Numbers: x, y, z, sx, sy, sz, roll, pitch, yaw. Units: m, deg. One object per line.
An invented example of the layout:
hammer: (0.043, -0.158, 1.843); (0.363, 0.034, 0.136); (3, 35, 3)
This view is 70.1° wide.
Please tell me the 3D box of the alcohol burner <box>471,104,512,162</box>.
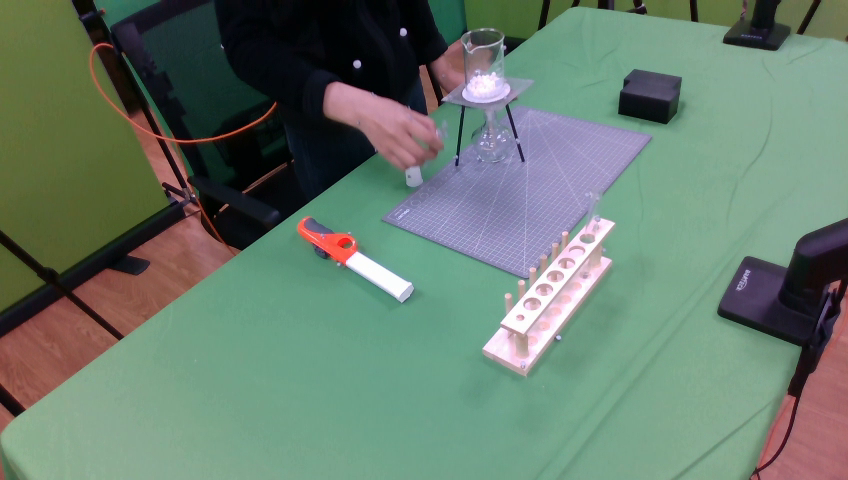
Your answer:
alcohol burner: (0.125, -0.207, 1.126); (0.078, 0.119, 0.077); (-5, 42, 5)

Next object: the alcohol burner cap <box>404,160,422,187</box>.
alcohol burner cap: (-0.023, -0.125, 1.118); (0.034, 0.048, 0.033); (-4, 40, 4)

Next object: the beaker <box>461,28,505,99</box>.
beaker: (0.103, -0.304, 1.051); (0.073, 0.101, 0.084); (19, 48, 29)

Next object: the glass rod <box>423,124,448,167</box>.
glass rod: (0.016, -0.141, 0.925); (0.008, 0.199, 0.008); (1, 81, -8)

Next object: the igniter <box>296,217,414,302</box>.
igniter: (-0.121, 0.025, 0.970); (0.274, 0.025, 0.057); (29, 63, 37)

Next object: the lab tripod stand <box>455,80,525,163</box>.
lab tripod stand: (0.120, -0.219, 1.126); (0.148, 0.132, 0.147); (-4, 39, 4)

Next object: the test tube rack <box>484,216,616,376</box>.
test tube rack: (0.174, 0.064, 0.823); (0.066, 0.085, 0.243); (23, 49, 32)

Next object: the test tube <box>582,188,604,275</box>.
test tube: (0.228, -0.007, 0.821); (0.017, 0.151, 0.017); (-3, 42, 3)

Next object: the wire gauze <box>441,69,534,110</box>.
wire gauze: (0.114, -0.268, 1.082); (0.120, 0.011, 0.125); (22, 47, 28)
